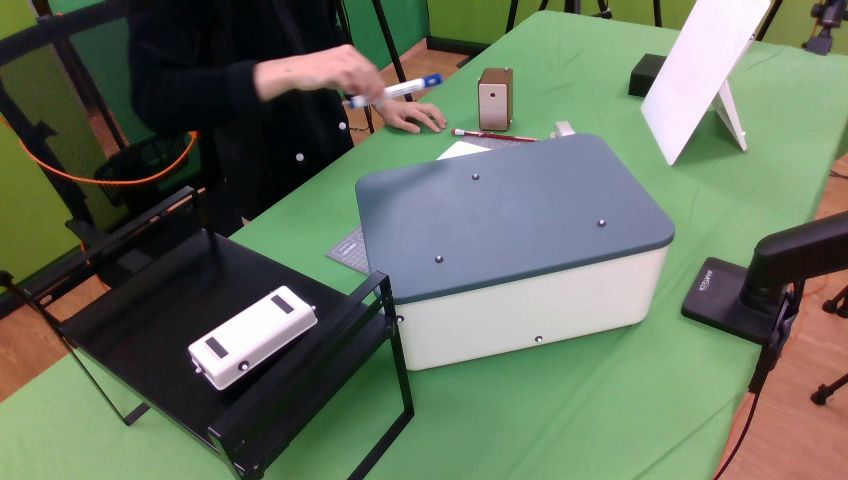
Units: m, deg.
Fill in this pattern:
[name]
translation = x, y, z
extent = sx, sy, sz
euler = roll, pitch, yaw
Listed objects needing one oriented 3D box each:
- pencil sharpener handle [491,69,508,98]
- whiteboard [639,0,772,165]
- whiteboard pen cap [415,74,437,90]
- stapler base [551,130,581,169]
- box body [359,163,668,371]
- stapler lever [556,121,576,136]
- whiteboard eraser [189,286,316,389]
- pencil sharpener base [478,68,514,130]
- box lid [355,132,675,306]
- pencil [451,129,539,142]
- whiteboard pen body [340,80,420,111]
[pencil sharpener handle]
translation = 0.155, -0.329, 1.254
extent = 0.036, 0.068, 0.030
euler = 17, 43, 3
[whiteboard]
translation = 0.543, -0.298, 1.076
extent = 0.144, 0.305, 0.216
euler = 12, 40, -7
[whiteboard pen cap]
translation = 0.000, -0.223, 0.861
extent = 0.033, 0.018, 0.018
euler = -22, 42, -22
[stapler base]
translation = 0.268, -0.178, 1.142
extent = 0.041, 0.024, 0.130
euler = 0, 37, 3
[box body]
translation = 0.108, 0.014, 0.833
extent = 0.365, 0.161, 0.252
euler = -11, 41, -5
[stapler lever]
translation = 0.266, -0.198, 1.128
extent = 0.027, 0.040, 0.117
euler = 0, 38, 3
[whiteboard eraser]
translation = -0.166, 0.096, 0.593
extent = 0.113, 0.042, 0.055
euler = -36, 47, -29
[pencil sharpener base]
translation = 0.148, -0.286, 1.224
extent = 0.061, 0.107, 0.076
euler = 5, 41, 15
[box lid]
translation = 0.103, -0.042, 0.785
extent = 0.372, 0.015, 0.261
euler = -12, 41, -5
[pencil]
translation = 0.146, -0.207, 1.205
extent = 0.193, 0.012, 0.012
euler = 10, 43, 19
[whiteboard pen body]
translation = -0.050, -0.203, 0.837
extent = 0.141, 0.017, 0.017
euler = -21, 42, -22
